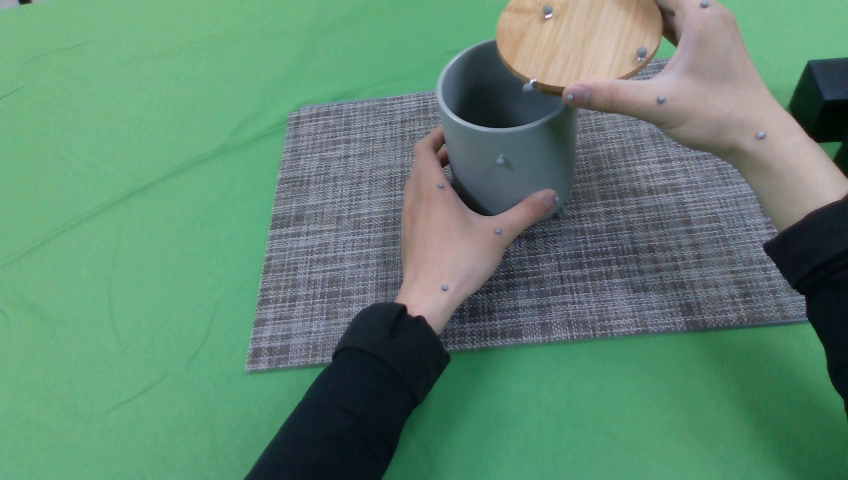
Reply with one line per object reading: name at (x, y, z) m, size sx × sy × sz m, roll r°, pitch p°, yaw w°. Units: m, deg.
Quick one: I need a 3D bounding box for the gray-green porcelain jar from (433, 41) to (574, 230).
gray-green porcelain jar at (0.068, -0.078, 0.493) m, size 0.106 × 0.128 × 0.105 m, roll -5°, pitch 53°, yaw 7°

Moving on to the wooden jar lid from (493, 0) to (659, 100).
wooden jar lid at (0.102, -0.136, 0.412) m, size 0.108 × 0.021 × 0.107 m, roll -4°, pitch 61°, yaw 8°
